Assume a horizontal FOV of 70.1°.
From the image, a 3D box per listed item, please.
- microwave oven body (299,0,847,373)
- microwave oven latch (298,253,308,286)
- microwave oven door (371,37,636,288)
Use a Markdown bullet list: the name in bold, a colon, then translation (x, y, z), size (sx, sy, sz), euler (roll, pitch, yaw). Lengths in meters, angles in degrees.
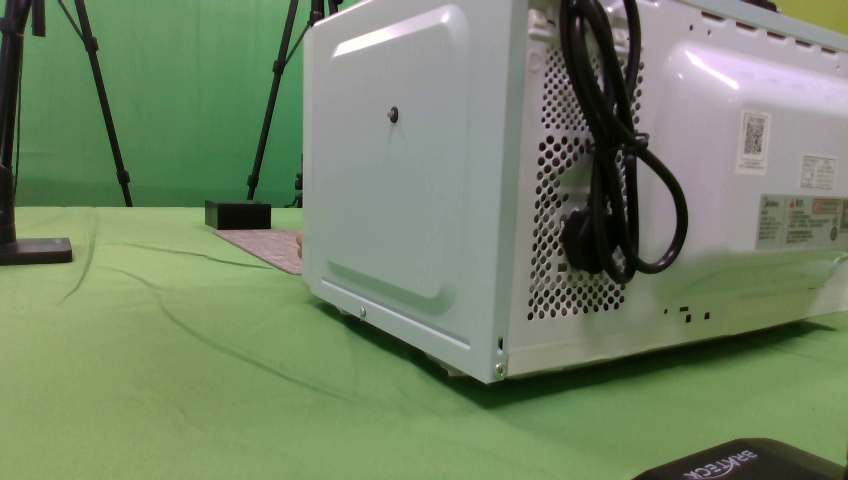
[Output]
- **microwave oven body**: translation (0.152, -0.056, 0.542), size (0.444, 0.260, 0.324), euler (-2, 8, -32)
- **microwave oven latch**: translation (-0.081, 0.027, 0.583), size (0.079, 0.029, 0.030), euler (-1, 7, -32)
- **microwave oven door**: translation (0.109, -0.080, 0.686), size (0.358, 0.243, 0.039), euler (-2, 9, -33)
